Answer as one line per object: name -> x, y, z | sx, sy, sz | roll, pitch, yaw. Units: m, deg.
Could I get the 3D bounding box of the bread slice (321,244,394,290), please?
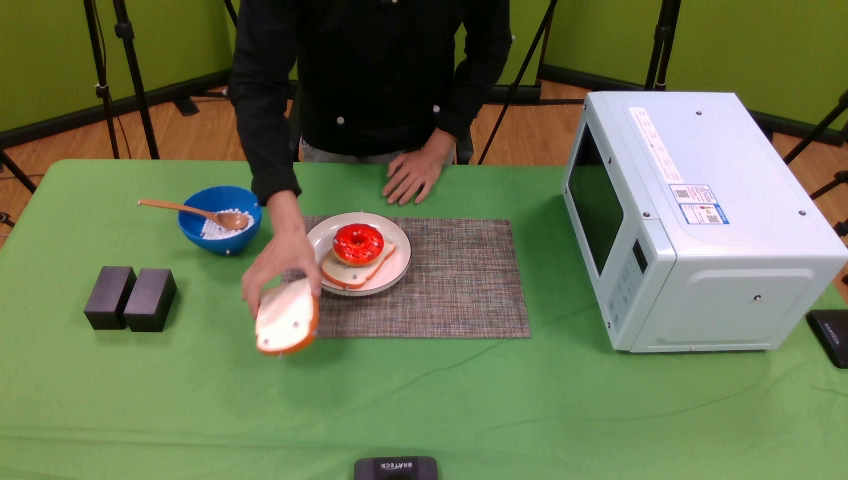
bread slice -> -0.129, 0.041, 1.143 | 0.107, 0.018, 0.134 | 21, 41, 11

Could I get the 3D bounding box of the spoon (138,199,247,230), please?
spoon -> -0.431, -0.053, 1.136 | 0.194, 0.022, 0.041 | 15, 50, -21

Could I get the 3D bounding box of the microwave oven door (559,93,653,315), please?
microwave oven door -> 0.327, -0.074, 1.123 | 0.039, 0.245, 0.353 | -1, 46, -5

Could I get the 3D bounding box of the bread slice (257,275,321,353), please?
bread slice -> -0.216, 0.116, 0.961 | 0.105, 0.019, 0.130 | -14, 49, 8

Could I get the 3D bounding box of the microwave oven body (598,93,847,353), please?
microwave oven body -> 0.475, -0.041, 1.109 | 0.326, 0.261, 0.438 | -1, 45, -4

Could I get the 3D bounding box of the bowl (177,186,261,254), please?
bowl -> -0.383, -0.026, 1.158 | 0.151, 0.077, 0.150 | 2, 46, -2

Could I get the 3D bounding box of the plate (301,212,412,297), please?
plate -> -0.126, 0.031, 1.145 | 0.208, 0.039, 0.206 | 2, 46, -2

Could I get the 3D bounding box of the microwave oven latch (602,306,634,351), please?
microwave oven latch -> 0.332, 0.153, 1.044 | 0.030, 0.029, 0.078 | 0, 45, -4

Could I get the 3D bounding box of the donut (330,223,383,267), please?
donut -> -0.125, 0.010, 1.127 | 0.099, 0.048, 0.098 | 3, 45, -3
